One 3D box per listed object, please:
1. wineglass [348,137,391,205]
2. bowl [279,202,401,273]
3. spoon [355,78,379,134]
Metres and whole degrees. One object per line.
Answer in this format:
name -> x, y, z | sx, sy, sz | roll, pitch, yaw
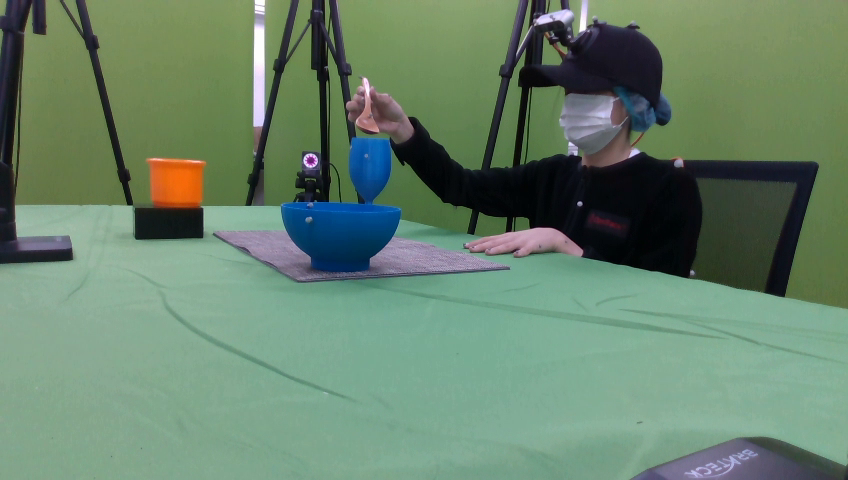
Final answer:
wineglass -> -0.092, -0.081, 0.997 | 0.074, 0.172, 0.073 | 3, 7, 0
bowl -> -0.105, -0.003, 0.756 | 0.151, 0.077, 0.151 | 3, 7, 0
spoon -> -0.098, -0.235, 1.046 | 0.042, 0.021, 0.193 | 16, 40, -20
